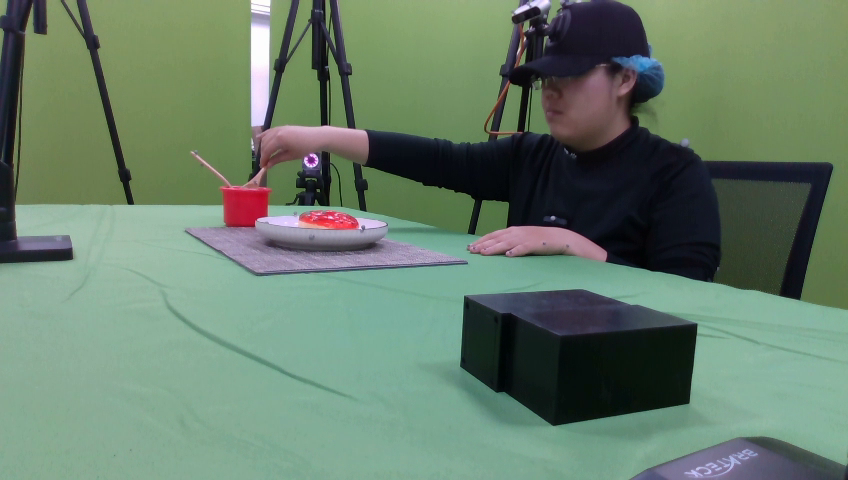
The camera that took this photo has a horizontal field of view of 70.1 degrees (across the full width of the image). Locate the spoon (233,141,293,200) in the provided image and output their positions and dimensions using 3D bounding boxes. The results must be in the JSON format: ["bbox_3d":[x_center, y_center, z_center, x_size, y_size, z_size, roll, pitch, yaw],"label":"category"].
[{"bbox_3d":[-0.314,-0.141,1.205,0.041,0.021,0.194,17,53,18],"label":"spoon"}]

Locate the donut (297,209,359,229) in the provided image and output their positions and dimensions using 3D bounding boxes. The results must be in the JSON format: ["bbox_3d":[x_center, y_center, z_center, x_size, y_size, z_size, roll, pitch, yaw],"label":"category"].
[{"bbox_3d":[-0.151,-0.023,0.955,0.099,0.048,0.099,6,7,0],"label":"donut"}]

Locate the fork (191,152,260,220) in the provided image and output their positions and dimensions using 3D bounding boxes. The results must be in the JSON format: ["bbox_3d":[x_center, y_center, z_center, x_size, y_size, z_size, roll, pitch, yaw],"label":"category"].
[{"bbox_3d":[-0.386,-0.104,1.191,0.207,0.018,0.028,46,16,5],"label":"fork"}]

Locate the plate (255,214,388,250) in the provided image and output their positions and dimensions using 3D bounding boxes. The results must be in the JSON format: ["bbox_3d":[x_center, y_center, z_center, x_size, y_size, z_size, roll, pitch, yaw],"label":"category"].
[{"bbox_3d":[-0.161,-0.013,0.961,0.209,0.038,0.209,2,7,0],"label":"plate"}]
